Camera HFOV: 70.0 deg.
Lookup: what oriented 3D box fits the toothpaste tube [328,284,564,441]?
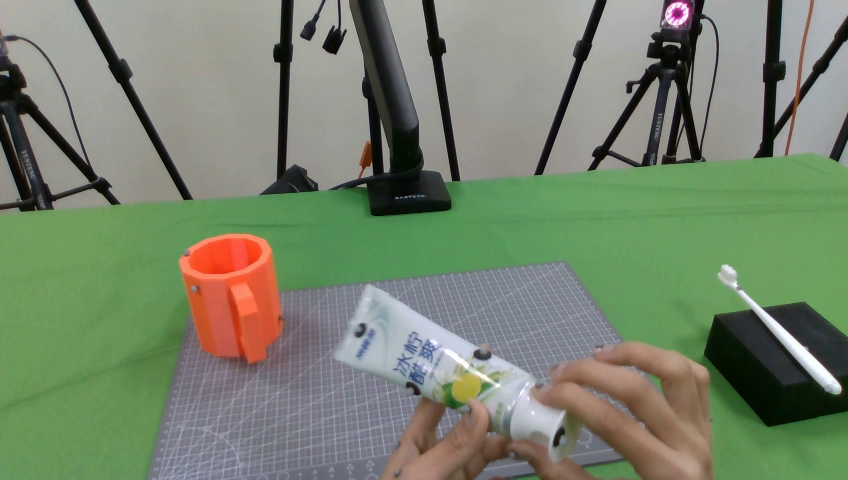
[{"bbox_3d":[0.010,0.072,0.356,0.163,0.035,0.055,17,73,35],"label":"toothpaste tube"}]

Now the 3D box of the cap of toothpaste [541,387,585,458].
[{"bbox_3d":[0.070,0.093,0.309,0.011,0.037,0.037,17,35,35],"label":"cap of toothpaste"}]

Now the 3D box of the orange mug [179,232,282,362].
[{"bbox_3d":[-0.187,0.060,0.607,0.084,0.101,0.125,-16,30,-24],"label":"orange mug"}]

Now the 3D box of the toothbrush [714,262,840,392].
[{"bbox_3d":[0.324,0.074,0.566,0.014,0.017,0.180,0,31,-8],"label":"toothbrush"}]
